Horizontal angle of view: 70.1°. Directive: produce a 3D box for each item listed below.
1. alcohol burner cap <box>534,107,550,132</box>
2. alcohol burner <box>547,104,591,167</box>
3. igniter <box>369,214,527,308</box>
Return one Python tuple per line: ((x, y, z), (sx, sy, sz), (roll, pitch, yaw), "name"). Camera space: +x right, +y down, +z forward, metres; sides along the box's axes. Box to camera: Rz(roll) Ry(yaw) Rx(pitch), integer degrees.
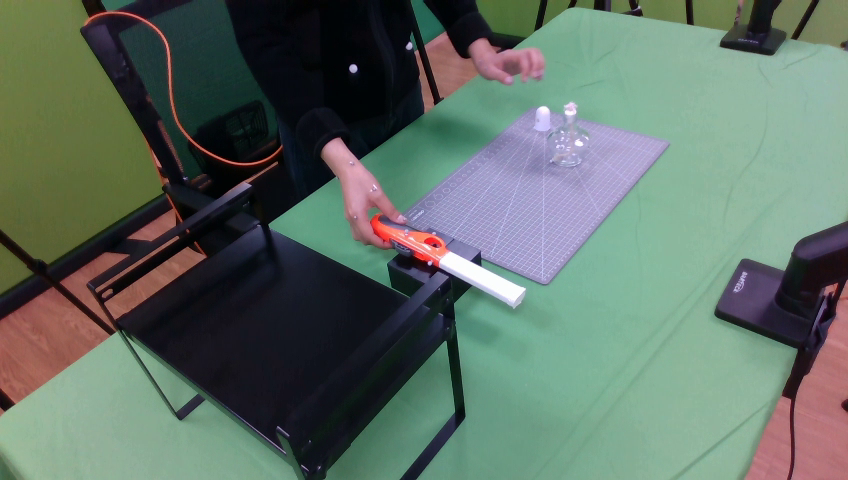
((0.236, -0.243, 1.206), (0.034, 0.048, 0.033), (-4, 40, 4), "alcohol burner cap")
((0.261, -0.192, 1.087), (0.078, 0.119, 0.077), (-5, 42, 5), "alcohol burner")
((0.023, 0.023, 0.868), (0.274, 0.025, 0.057), (27, 47, 29), "igniter")
